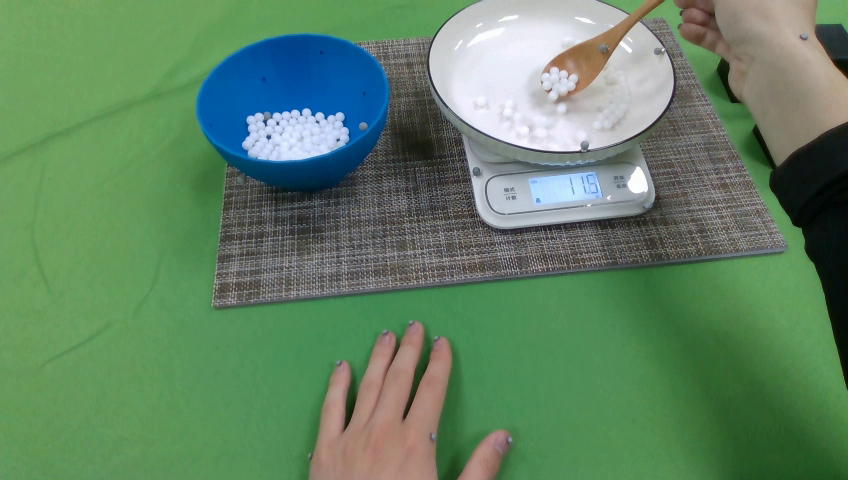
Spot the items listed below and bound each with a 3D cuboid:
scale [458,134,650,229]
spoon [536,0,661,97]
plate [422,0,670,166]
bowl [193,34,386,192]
[{"bbox_3d":[0.104,-0.101,0.537,0.149,0.032,0.199,-6,56,-3],"label":"scale"},{"bbox_3d":[0.170,-0.178,0.473,0.022,0.194,0.041,7,54,-51],"label":"spoon"},{"bbox_3d":[0.102,-0.139,0.523,0.209,0.038,0.207,0,55,0],"label":"plate"},{"bbox_3d":[-0.104,-0.093,0.505,0.151,0.077,0.150,0,55,1],"label":"bowl"}]
